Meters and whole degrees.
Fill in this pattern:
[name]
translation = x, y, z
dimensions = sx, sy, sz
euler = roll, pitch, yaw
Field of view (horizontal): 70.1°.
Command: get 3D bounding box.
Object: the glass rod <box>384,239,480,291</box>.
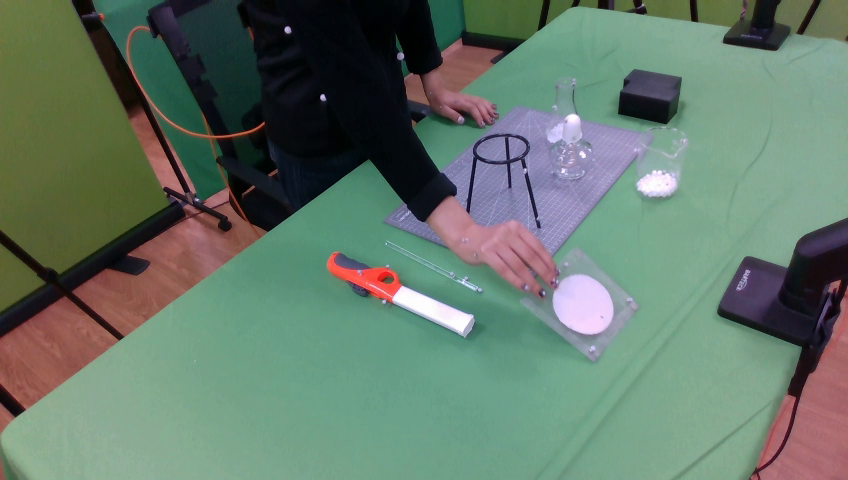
[glass rod]
translation = 0.009, 0.037, 0.949
dimensions = 0.198, 0.008, 0.008
euler = 26, 52, 34

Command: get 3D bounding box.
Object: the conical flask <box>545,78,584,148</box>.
[conical flask]
translation = 0.264, -0.241, 1.135
dimensions = 0.075, 0.122, 0.075
euler = -6, 40, 5

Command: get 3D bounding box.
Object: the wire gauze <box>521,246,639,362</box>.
[wire gauze]
translation = 0.214, 0.084, 0.813
dimensions = 0.121, 0.011, 0.125
euler = 44, 63, 11

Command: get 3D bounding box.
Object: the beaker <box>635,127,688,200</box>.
[beaker]
translation = 0.388, -0.122, 0.994
dimensions = 0.074, 0.101, 0.083
euler = -8, 40, 2

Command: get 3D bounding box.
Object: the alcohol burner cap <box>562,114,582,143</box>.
[alcohol burner cap]
translation = 0.254, -0.192, 1.030
dimensions = 0.034, 0.048, 0.033
euler = -4, 51, 6

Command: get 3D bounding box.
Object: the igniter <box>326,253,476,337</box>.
[igniter]
translation = -0.045, 0.076, 0.898
dimensions = 0.274, 0.025, 0.057
euler = 21, 59, 31

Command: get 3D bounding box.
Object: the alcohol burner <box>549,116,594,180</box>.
[alcohol burner]
translation = 0.258, -0.166, 1.055
dimensions = 0.078, 0.120, 0.077
euler = -6, 42, 6

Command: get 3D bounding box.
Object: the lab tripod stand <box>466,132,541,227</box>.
[lab tripod stand]
translation = 0.130, -0.099, 0.985
dimensions = 0.148, 0.132, 0.147
euler = -6, 38, 6
